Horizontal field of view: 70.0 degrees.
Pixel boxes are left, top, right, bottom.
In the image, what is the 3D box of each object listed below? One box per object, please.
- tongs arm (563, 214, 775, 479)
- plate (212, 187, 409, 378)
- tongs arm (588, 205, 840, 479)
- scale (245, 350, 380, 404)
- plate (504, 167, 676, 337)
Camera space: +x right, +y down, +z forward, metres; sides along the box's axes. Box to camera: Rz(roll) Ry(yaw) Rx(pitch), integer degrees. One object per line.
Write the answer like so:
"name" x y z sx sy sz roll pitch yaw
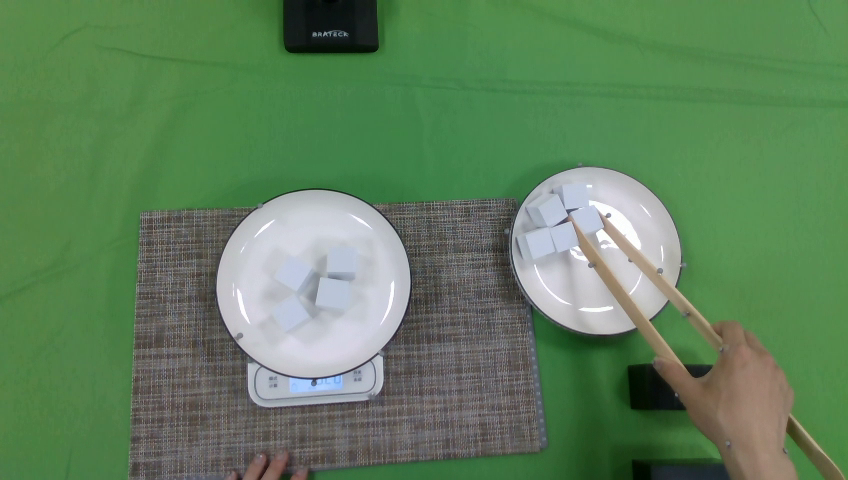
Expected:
"tongs arm" 0.251 0.110 0.620 0.028 0.028 0.383 -18 53 -16
"plate" -0.121 0.045 0.663 0.209 0.038 0.208 1 77 -5
"tongs arm" 0.273 0.101 0.626 0.051 0.027 0.380 -24 54 -16
"scale" -0.127 0.081 0.688 0.149 0.031 0.200 -2 77 -5
"plate" 0.197 0.015 0.733 0.208 0.039 0.206 1 77 -5
